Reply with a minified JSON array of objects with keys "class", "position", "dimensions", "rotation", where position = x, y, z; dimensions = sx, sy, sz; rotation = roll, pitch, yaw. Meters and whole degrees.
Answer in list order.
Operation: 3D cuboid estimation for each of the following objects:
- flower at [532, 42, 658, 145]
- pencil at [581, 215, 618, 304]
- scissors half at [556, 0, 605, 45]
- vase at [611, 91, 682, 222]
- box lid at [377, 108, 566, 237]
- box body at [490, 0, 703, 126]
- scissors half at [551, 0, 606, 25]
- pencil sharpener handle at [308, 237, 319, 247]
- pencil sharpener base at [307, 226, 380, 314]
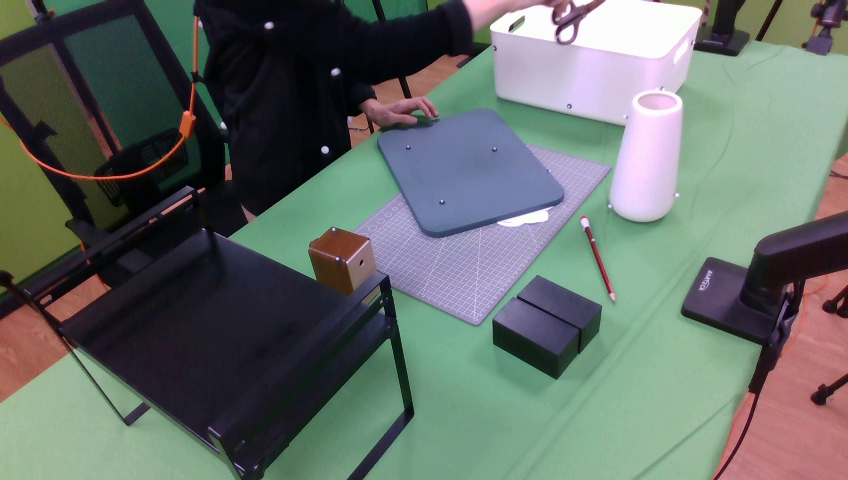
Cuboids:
[{"class":"flower","position":[0.370,-0.320,1.323],"dimensions":[0.359,0.044,0.038],"rotation":[47,35,22]},{"class":"pencil","position":[0.266,0.026,0.917],"dimensions":[0.012,0.012,0.193],"rotation":[-6,42,1]},{"class":"scissors half","position":[0.279,-0.386,1.046],"dimensions":[0.012,0.040,0.175],"rotation":[14,51,46]},{"class":"vase","position":[0.348,-0.125,0.935],"dimensions":[0.098,0.201,0.097],"rotation":[-3,40,3]},{"class":"box lid","position":[0.074,-0.141,1.136],"dimensions":[0.264,0.015,0.368],"rotation":[-16,40,-10]},{"class":"box body","position":[0.352,-0.384,1.268],"dimensions":[0.361,0.161,0.255],"rotation":[21,48,29]},{"class":"scissors half","position":[0.273,-0.404,1.038],"dimensions":[0.176,0.040,0.012],"rotation":[-29,23,-35]},{"class":"pencil sharpener handle","position":[-0.158,0.017,0.892],"dimensions":[0.030,0.068,0.036],"rotation":[18,61,28]},{"class":"pencil sharpener base","position":[-0.116,0.043,0.875],"dimensions":[0.076,0.107,0.061],"rotation":[18,47,27]}]
